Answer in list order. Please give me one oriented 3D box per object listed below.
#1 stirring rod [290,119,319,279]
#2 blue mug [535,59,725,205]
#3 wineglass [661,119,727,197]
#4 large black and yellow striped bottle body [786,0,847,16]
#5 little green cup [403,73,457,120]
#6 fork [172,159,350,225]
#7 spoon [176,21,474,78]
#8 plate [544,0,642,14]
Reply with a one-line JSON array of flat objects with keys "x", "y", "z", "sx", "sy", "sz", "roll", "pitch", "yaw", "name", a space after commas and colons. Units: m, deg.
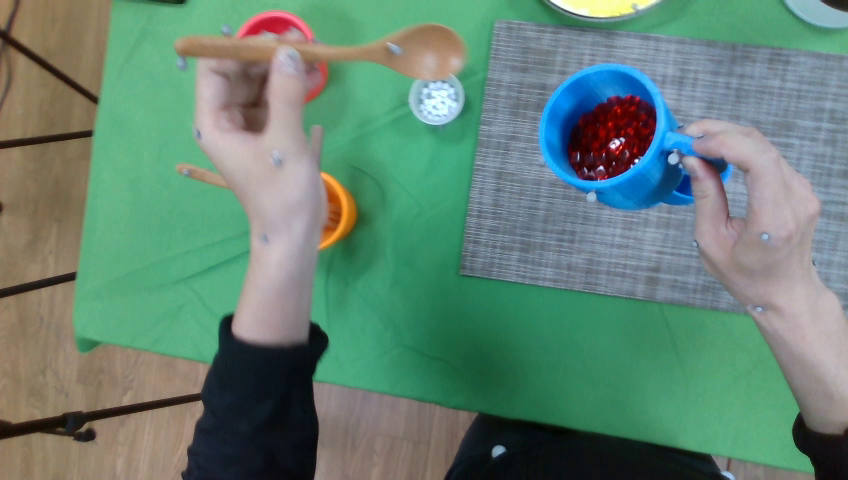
[{"x": -0.132, "y": -0.044, "z": 0.667, "sx": 0.014, "sy": 0.006, "sz": 0.176, "roll": 7, "pitch": 93, "yaw": 6, "name": "stirring rod"}, {"x": 0.151, "y": -0.069, "z": 0.430, "sx": 0.115, "sy": 0.106, "sz": 0.082, "roll": 17, "pitch": 94, "yaw": 30, "name": "blue mug"}, {"x": 0.241, "y": -0.077, "z": 0.611, "sx": 0.073, "sy": 0.172, "sz": 0.074, "roll": 0, "pitch": 92, "yaw": 7, "name": "wineglass"}, {"x": 0.433, "y": -0.306, "z": 0.576, "sx": 0.130, "sy": 0.184, "sz": 0.131, "roll": 0, "pitch": 93, "yaw": 7, "name": "large black and yellow striped bottle body"}, {"x": 0.009, "y": -0.169, "z": 0.703, "sx": 0.061, "sy": 0.038, "sz": 0.061, "roll": 0, "pitch": 93, "yaw": 7, "name": "little green cup"}, {"x": -0.174, "y": -0.053, "z": 0.674, "sx": 0.209, "sy": 0.018, "sz": 0.028, "roll": 17, "pitch": 103, "yaw": -38, "name": "fork"}, {"x": -0.050, "y": -0.117, "z": 0.374, "sx": 0.021, "sy": 0.194, "sz": 0.042, "roll": 55, "pitch": 141, "yaw": 30, "name": "spoon"}, {"x": 0.191, "y": -0.354, "z": 0.673, "sx": 0.209, "sy": 0.038, "sz": 0.209, "roll": 0, "pitch": 94, "yaw": 6, "name": "plate"}]
